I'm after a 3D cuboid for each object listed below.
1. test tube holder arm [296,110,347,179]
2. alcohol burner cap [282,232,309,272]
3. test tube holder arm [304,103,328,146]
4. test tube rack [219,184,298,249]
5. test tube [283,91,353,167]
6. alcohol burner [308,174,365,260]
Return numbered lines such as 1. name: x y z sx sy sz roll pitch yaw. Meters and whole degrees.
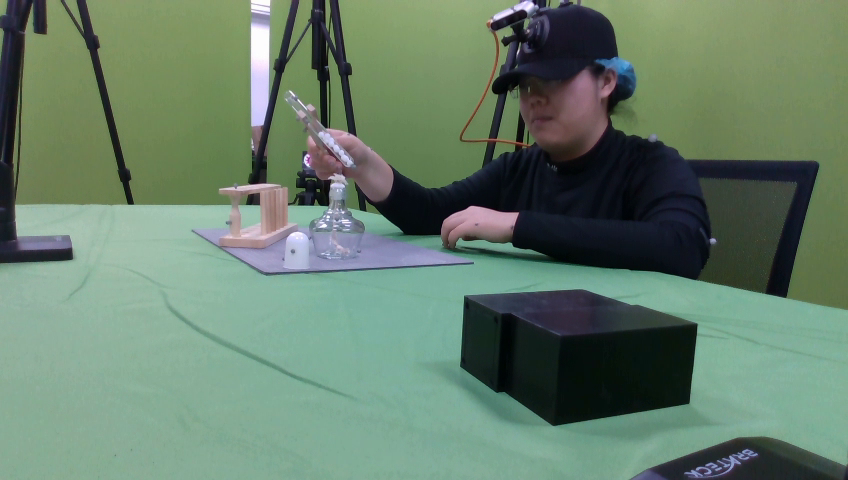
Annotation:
1. test tube holder arm: -0.151 -0.139 0.909 0.015 0.013 0.179 43 -9 24
2. alcohol burner cap: -0.157 0.014 0.740 0.034 0.048 0.034 3 6 0
3. test tube holder arm: -0.154 -0.162 0.870 0.015 0.010 0.088 43 -17 24
4. test tube rack: -0.266 -0.045 1.001 0.067 0.085 0.242 3 7 0
5. test tube: -0.148 -0.155 0.843 0.150 0.017 0.017 48 24 16
6. alcohol burner: -0.121 -0.033 0.841 0.078 0.119 0.078 3 5 0
